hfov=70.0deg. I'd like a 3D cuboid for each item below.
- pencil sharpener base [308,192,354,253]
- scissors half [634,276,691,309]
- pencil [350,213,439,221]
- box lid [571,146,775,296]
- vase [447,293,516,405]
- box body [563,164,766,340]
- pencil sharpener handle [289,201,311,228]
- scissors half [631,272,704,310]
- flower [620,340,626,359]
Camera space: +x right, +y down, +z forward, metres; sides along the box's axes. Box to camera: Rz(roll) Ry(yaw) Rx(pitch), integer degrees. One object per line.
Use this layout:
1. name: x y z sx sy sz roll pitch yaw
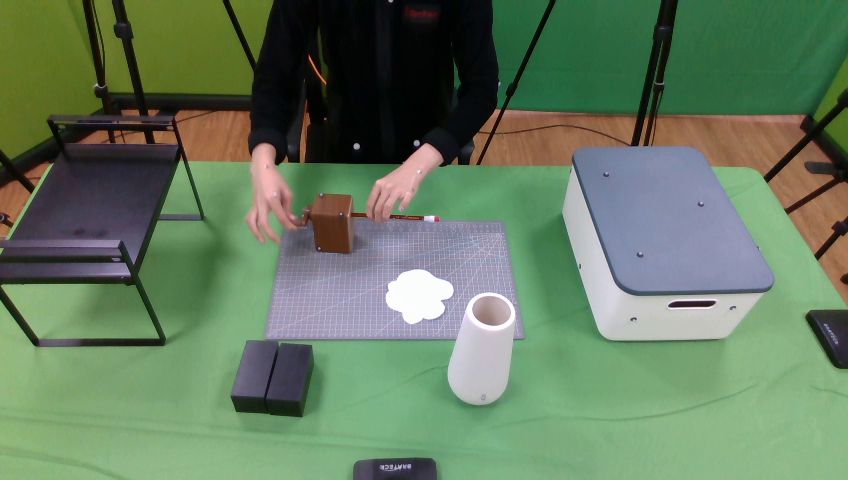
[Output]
1. pencil sharpener base: -0.176 -0.033 1.152 0.077 0.107 0.061 4 47 0
2. scissors half: 0.454 0.096 1.144 0.175 0.040 0.013 -20 88 -31
3. pencil: -0.069 -0.044 1.133 0.194 0.012 0.012 2 46 0
4. box lid: 0.424 -0.048 1.074 0.263 0.015 0.369 -1 46 -4
5. vase: 0.091 0.168 0.921 0.098 0.201 0.097 3 47 -3
6. box body: 0.421 0.003 1.130 0.254 0.161 0.361 0 46 -5
7. pencil sharpener handle: -0.227 -0.046 1.119 0.030 0.036 0.067 4 36 0
8. scissors half: 0.460 0.092 1.132 0.175 0.040 0.013 -22 83 -21
9. flower: 0.416 0.065 1.186 0.038 0.044 0.360 29 64 -20
